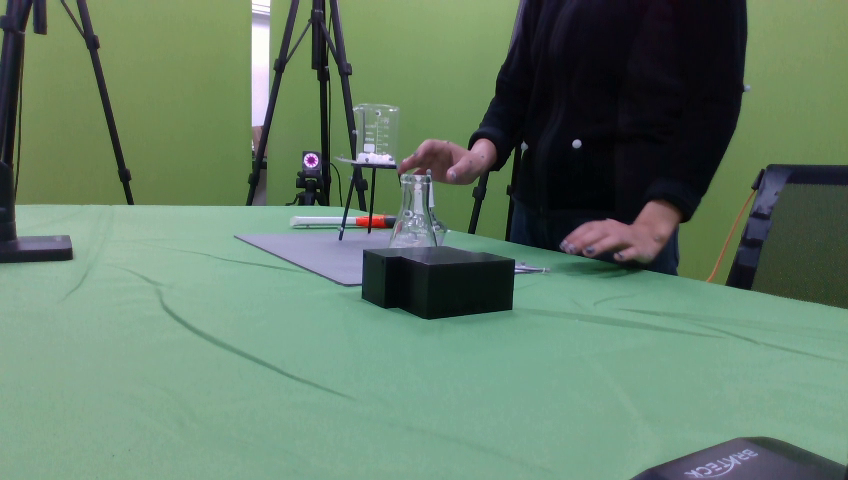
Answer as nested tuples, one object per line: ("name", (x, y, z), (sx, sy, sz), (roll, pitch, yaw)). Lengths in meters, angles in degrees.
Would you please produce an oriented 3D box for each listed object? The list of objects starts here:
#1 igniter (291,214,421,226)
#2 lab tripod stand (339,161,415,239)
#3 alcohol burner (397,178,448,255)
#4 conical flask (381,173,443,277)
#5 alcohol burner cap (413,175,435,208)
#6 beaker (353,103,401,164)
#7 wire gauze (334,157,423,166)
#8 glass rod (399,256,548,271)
("igniter", (-0.135, -0.041, 1.250), (0.278, 0.025, 0.057), (-1, -3, -28))
("lab tripod stand", (-0.082, -0.070, 1.059), (0.148, 0.131, 0.148), (4, 6, 0))
("alcohol burner", (-0.001, -0.037, 0.903), (0.078, 0.119, 0.078), (4, 9, 0))
("conical flask", (-0.012, -0.020, 0.731), (0.075, 0.122, 0.075), (2, 7, 0))
("alcohol burner cap", (-0.001, -0.072, 0.898), (0.034, 0.048, 0.034), (-3, 10, 1))
("beaker", (-0.084, -0.183, 1.045), (0.084, 0.100, 0.074), (4, 6, 3))
("wire gauze", (-0.081, -0.135, 1.051), (0.122, 0.011, 0.124), (2, 5, -30))
("glass rod", (0.064, 0.030, 0.806), (0.199, 0.008, 0.008), (4, 7, 10))
